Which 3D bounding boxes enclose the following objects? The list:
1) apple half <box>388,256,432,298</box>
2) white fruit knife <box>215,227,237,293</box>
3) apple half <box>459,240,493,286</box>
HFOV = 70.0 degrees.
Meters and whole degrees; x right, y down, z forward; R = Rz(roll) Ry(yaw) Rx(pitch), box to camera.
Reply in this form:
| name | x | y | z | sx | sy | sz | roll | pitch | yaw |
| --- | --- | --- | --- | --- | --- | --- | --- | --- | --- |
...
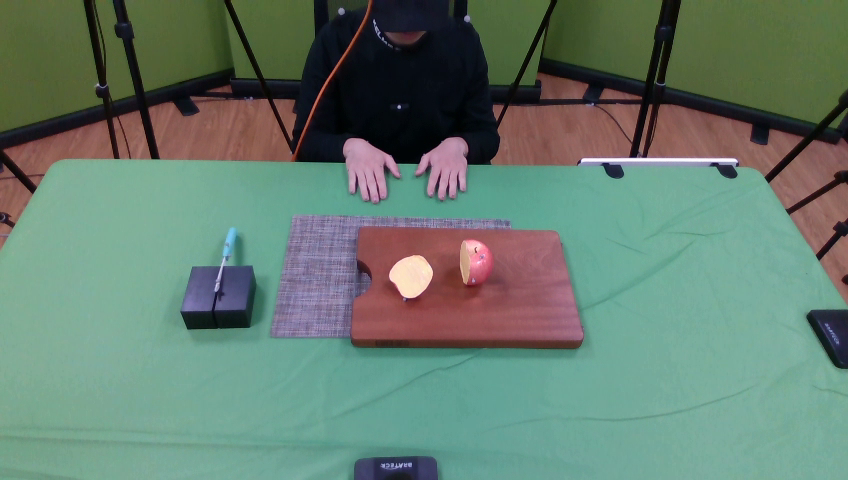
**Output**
| name | x | y | z | sx | sy | sz | roll | pitch | yaw |
| --- | --- | --- | --- | --- | --- | --- | --- | --- | --- |
| apple half | -0.020 | 0.069 | 1.080 | 0.081 | 0.033 | 0.081 | -6 | 63 | 12 |
| white fruit knife | -0.360 | 0.033 | 1.101 | 0.016 | 0.027 | 0.206 | 1 | 31 | -9 |
| apple half | 0.096 | 0.042 | 1.093 | 0.053 | 0.075 | 0.080 | -1 | 42 | -11 |
